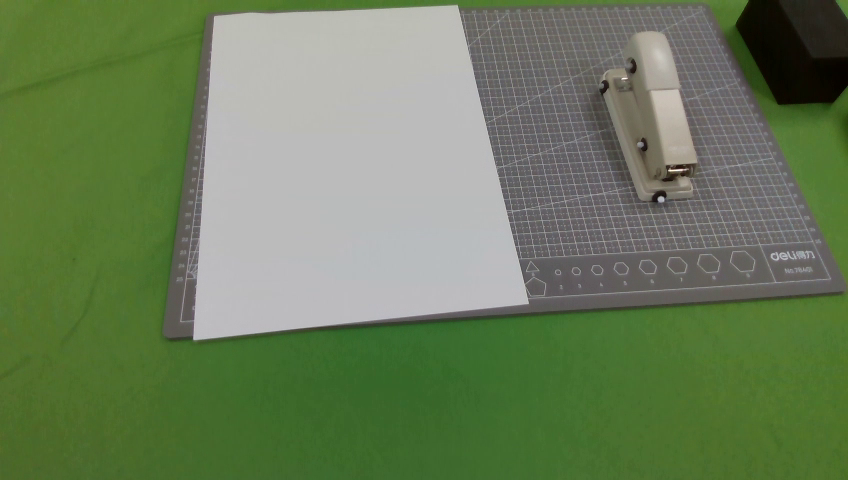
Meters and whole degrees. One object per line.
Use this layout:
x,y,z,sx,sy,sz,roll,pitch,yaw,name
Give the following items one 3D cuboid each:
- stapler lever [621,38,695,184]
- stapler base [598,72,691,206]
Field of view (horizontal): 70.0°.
0.171,-0.098,0.443,0.027,0.040,0.117,-5,61,-3,stapler lever
0.169,-0.086,0.466,0.041,0.024,0.129,-5,61,-3,stapler base
